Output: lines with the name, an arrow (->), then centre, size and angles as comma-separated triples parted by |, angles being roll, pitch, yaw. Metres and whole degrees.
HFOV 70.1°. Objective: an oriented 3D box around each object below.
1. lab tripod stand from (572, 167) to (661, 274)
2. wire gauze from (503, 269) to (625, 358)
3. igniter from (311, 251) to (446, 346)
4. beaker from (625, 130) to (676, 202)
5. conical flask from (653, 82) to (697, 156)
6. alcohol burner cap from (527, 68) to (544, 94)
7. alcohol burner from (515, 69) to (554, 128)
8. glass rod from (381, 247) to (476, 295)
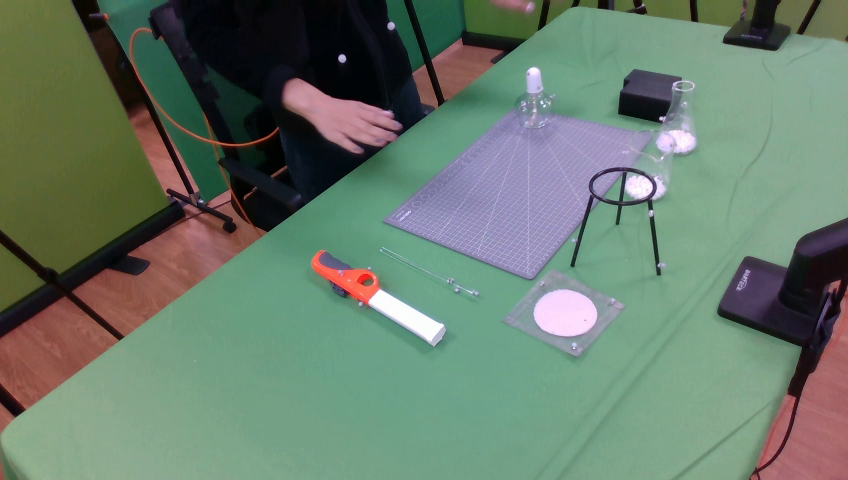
lab tripod stand -> 0.283, -0.030, 0.879 | 0.148, 0.132, 0.147 | -7, 38, 6
wire gauze -> 0.194, 0.100, 0.840 | 0.120, 0.011, 0.125 | 27, 54, 36
igniter -> -0.078, 0.081, 0.899 | 0.274, 0.025, 0.057 | 27, 62, 35
beaker -> 0.369, -0.117, 0.992 | 0.074, 0.101, 0.083 | -7, 41, 5
conical flask -> 0.454, -0.218, 1.077 | 0.075, 0.122, 0.075 | -5, 40, 5
alcohol burner cap -> 0.216, -0.312, 1.179 | 0.034, 0.048, 0.033 | -10, 40, 9
alcohol burner -> 0.221, -0.285, 1.203 | 0.078, 0.119, 0.077 | -4, 39, 4
glass rod -> 0.002, 0.047, 0.939 | 0.198, 0.008, 0.008 | 23, 50, 36
